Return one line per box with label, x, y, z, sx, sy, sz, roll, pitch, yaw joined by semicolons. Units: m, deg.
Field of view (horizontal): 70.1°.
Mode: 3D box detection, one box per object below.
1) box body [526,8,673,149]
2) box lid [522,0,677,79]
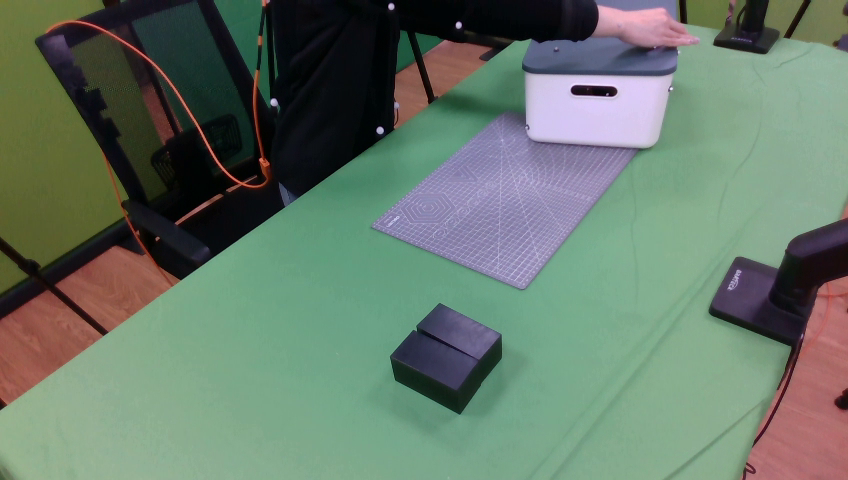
box body;0.356;-0.342;1.212;0.253;0.161;0.363;7;42;17
box lid;0.346;-0.397;1.163;0.262;0.015;0.371;6;41;17
